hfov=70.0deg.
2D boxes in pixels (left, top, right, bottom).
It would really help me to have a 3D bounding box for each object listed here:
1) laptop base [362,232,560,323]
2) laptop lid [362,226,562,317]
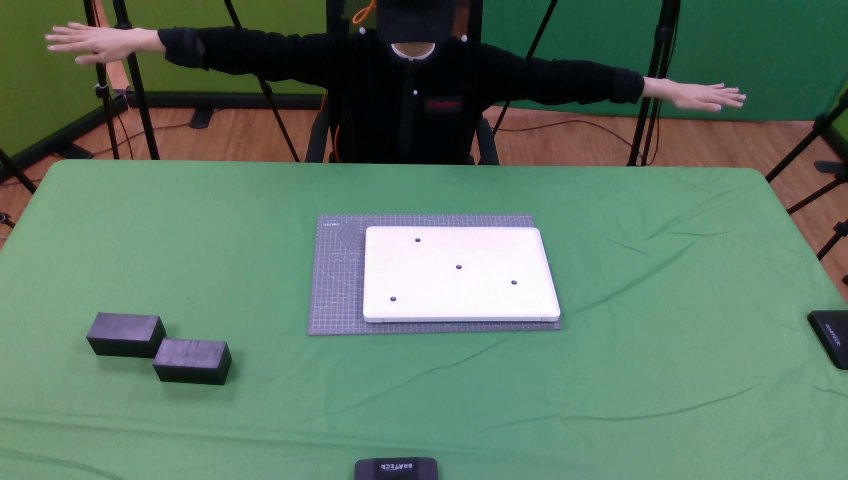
[{"bbox_3d":[0.064,0.063,1.143,0.355,0.023,0.234,0,43,-4],"label":"laptop base"},{"bbox_3d":[0.064,0.053,1.136,0.357,0.013,0.240,1,44,-3],"label":"laptop lid"}]
